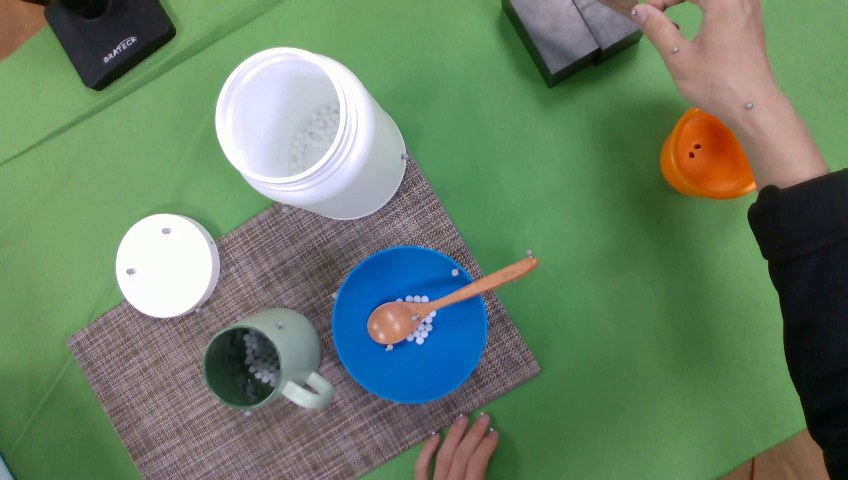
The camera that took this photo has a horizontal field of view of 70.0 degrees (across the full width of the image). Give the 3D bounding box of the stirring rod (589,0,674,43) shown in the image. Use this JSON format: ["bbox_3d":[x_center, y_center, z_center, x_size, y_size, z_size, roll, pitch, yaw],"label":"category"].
[{"bbox_3d":[0.125,-0.210,0.496,0.175,0.006,0.014,33,133,8],"label":"stirring rod"}]

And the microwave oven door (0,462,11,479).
[{"bbox_3d":[-0.440,0.369,0.567,0.039,0.244,0.355,-34,86,6],"label":"microwave oven door"}]

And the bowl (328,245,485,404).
[{"bbox_3d":[-0.012,0.079,0.605,0.151,0.077,0.151,0,91,8],"label":"bowl"}]

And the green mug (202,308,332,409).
[{"bbox_3d":[-0.148,0.127,0.610,0.125,0.105,0.092,32,93,6],"label":"green mug"}]

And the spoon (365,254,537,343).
[{"bbox_3d":[0.021,0.056,0.572,0.193,0.021,0.041,-25,91,30],"label":"spoon"}]

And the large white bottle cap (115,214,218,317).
[{"bbox_3d":[-0.285,0.028,0.670,0.114,0.018,0.114,0,90,8],"label":"large white bottle cap"}]

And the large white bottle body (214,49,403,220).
[{"bbox_3d":[-0.100,-0.091,0.561,0.130,0.185,0.130,0,87,9],"label":"large white bottle body"}]
